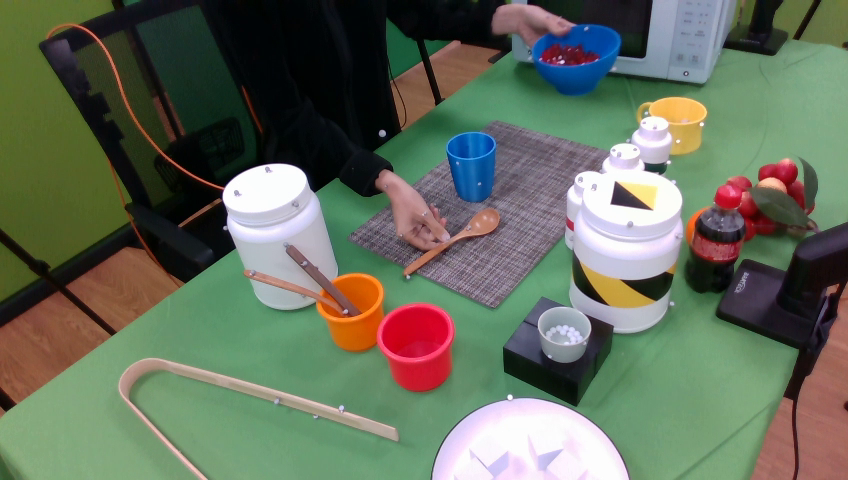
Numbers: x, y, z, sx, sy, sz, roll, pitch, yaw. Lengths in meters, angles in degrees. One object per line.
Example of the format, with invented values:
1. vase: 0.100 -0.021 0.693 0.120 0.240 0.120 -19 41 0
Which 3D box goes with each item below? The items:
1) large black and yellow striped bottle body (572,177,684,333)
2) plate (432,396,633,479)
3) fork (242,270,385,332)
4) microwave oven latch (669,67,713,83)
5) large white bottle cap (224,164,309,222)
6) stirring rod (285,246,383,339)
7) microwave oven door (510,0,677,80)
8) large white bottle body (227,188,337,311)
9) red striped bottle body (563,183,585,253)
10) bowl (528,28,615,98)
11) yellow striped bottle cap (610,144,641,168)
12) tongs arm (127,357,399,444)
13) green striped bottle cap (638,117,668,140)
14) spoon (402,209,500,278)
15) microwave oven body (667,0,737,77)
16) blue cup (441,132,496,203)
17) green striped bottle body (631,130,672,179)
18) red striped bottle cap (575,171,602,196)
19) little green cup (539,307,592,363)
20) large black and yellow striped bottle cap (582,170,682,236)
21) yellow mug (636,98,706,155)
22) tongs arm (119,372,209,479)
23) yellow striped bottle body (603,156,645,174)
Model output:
1. large black and yellow striped bottle body: 0.262 0.017 0.788 0.131 0.185 0.130 -5 40 4
2. plate: 0.112 0.261 0.634 0.209 0.038 0.208 -5 40 4
3. fork: -0.142 0.082 0.802 0.209 0.018 0.028 28 38 -26
4. microwave oven latch: 0.556 -0.348 1.261 0.078 0.029 0.030 16 46 27
5. large white bottle cap: -0.215 -0.066 0.829 0.115 0.018 0.114 -4 40 4
6. stirring rod: -0.121 0.071 0.819 0.176 0.006 0.014 44 52 -6
7. microwave oven door: 0.353 -0.479 1.291 0.353 0.245 0.039 15 45 25
8. large white bottle body: -0.207 -0.002 0.883 0.130 0.185 0.130 -4 40 4
9. red striped bottle body: 0.246 -0.041 0.910 0.063 0.120 0.062 -2 38 2
10. bowl: 0.263 -0.305 1.075 0.151 0.077 0.150 -8 42 8
11. yellow striped bottle cap: 0.307 -0.128 0.923 0.044 0.019 0.044 -6 40 5
12. tongs arm: -0.213 0.205 0.755 0.382 0.026 0.051 12 46 23
13. green striped bottle cap: 0.369 -0.180 0.974 0.044 0.020 0.044 -4 41 4
14. spoon: 0.043 0.005 0.957 0.194 0.021 0.041 -30 67 -24
15. microwave oven body: 0.462 -0.552 1.369 0.439 0.261 0.326 15 45 26
16. blue cup: 0.084 -0.120 1.038 0.092 0.100 0.092 -5 40 4
17. green striped bottle body: 0.375 -0.140 1.007 0.063 0.120 0.063 -5 40 5
18. red striped bottle cap: 0.242 -0.081 0.876 0.044 0.018 0.044 -5 44 5
19. little green cup: 0.168 0.115 0.721 0.061 0.039 0.061 -4 42 4
20. large black and yellow striped bottle cap: 0.252 -0.048 0.735 0.115 0.019 0.114 -3 40 3
21. yellow mug: 0.453 -0.217 1.128 0.100 0.064 0.129 -34 46 -27
22. tongs arm: -0.258 0.257 0.700 0.384 0.028 0.028 24 55 34
23. yellow striped bottle body: 0.313 -0.089 0.956 0.063 0.121 0.062 -4 39 4
